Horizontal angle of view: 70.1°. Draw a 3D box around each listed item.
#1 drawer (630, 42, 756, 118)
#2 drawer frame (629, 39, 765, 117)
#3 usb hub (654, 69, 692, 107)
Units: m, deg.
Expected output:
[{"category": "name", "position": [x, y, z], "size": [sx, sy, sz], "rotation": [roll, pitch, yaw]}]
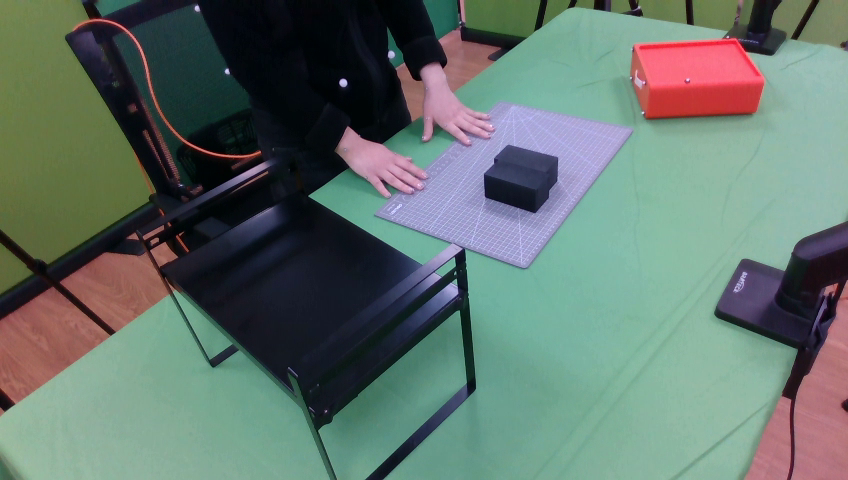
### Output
[{"category": "drawer", "position": [0.541, -0.331, 1.234], "size": [0.211, 0.073, 0.194], "rotation": [-1, 40, 8]}, {"category": "drawer frame", "position": [0.543, -0.332, 1.234], "size": [0.213, 0.083, 0.201], "rotation": [-1, 41, 6]}, {"category": "usb hub", "position": [0.511, -0.313, 1.241], "size": [0.049, 0.025, 0.124], "rotation": [-2, 39, 9]}]
